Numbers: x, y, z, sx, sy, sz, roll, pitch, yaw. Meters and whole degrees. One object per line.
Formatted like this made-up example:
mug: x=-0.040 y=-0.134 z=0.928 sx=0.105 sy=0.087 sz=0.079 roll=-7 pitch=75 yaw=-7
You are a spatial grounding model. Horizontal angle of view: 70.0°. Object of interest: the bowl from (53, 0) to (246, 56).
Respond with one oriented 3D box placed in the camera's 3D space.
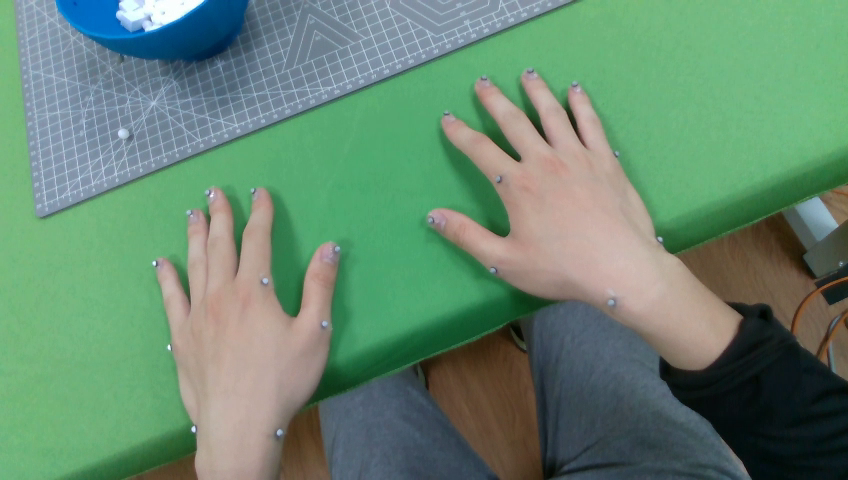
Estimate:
bowl: x=-0.191 y=-0.196 z=0.462 sx=0.151 sy=0.077 sz=0.150 roll=-3 pitch=70 yaw=9
